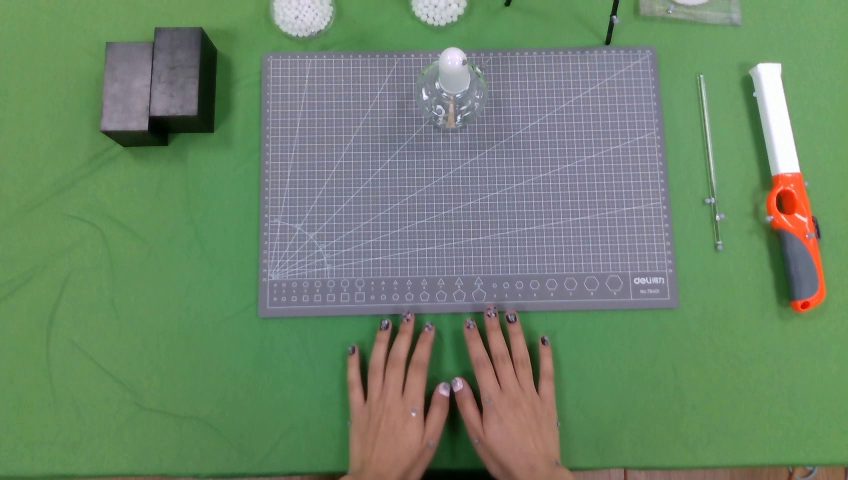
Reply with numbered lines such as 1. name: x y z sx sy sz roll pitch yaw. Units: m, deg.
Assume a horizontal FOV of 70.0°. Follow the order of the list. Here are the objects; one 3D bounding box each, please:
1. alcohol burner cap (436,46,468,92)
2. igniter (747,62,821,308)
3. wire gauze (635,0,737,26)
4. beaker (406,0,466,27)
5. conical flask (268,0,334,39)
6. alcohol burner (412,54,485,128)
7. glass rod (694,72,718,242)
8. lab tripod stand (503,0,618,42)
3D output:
1. alcohol burner cap: 0.027 -0.171 0.594 0.034 0.048 0.033 -1 75 5
2. igniter: 0.395 -0.064 0.666 0.057 0.025 0.275 -3 81 -11
3. wire gauze: 0.308 -0.315 0.714 0.125 0.011 0.121 3 82 -2
4. beaker: 0.016 -0.288 0.660 0.084 0.100 0.074 -28 82 -6
5. conical flask: -0.141 -0.275 0.643 0.075 0.122 0.075 0 80 0
6. alcohol burner: 0.027 -0.163 0.629 0.078 0.119 0.077 0 79 -1
7. glass rod: 0.317 -0.096 0.680 0.008 0.008 0.199 -1 81 -1
8. lab tripod stand: 0.165 -0.295 0.645 0.148 0.132 0.148 0 82 0
